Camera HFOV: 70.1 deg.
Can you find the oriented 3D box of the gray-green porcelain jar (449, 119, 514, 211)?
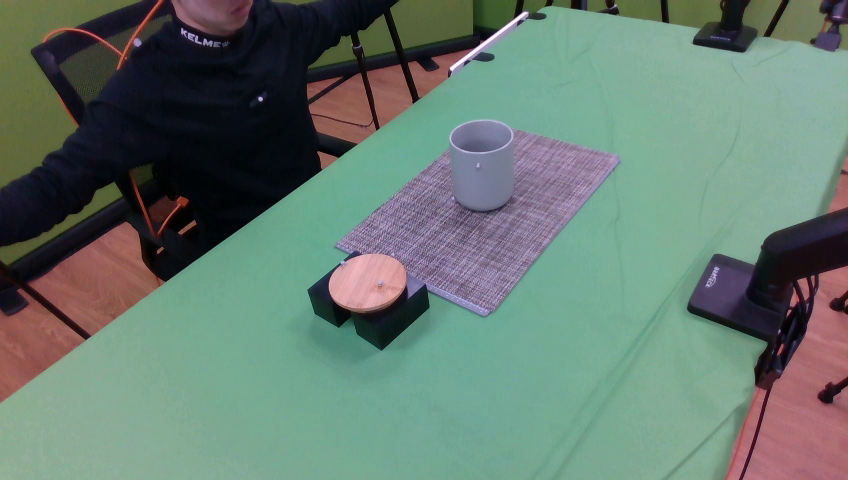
[{"bbox_3d":[0.098,-0.120,1.008,0.106,0.127,0.105,-4,41,4],"label":"gray-green porcelain jar"}]

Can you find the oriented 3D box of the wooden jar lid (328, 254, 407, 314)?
[{"bbox_3d":[-0.077,0.062,0.832,0.108,0.021,0.108,-4,39,4],"label":"wooden jar lid"}]
